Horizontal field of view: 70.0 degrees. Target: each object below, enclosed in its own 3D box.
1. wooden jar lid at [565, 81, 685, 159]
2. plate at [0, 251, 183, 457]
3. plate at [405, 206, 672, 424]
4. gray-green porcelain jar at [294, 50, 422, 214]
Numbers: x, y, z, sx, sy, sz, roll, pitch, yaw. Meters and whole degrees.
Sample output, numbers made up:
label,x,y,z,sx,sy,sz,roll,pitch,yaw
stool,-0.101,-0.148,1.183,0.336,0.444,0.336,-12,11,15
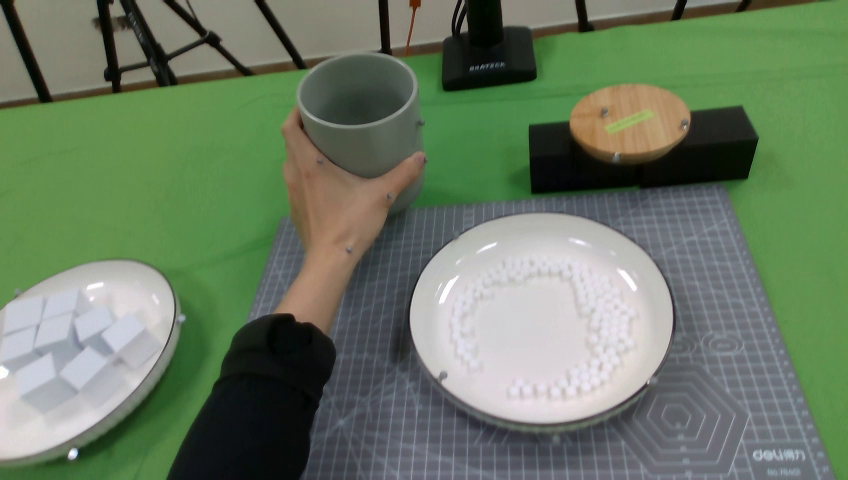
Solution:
label,x,y,z,sx,sy,sz,roll,pitch,yaw
wooden jar lid,0.190,-0.113,0.576,0.108,0.021,0.107,-6,48,7
plate,-0.316,0.099,0.547,0.207,0.039,0.205,-6,47,7
plate,0.090,0.056,0.493,0.209,0.038,0.207,-6,47,7
gray-green porcelain jar,-0.056,-0.095,0.570,0.106,0.128,0.105,-2,52,3
